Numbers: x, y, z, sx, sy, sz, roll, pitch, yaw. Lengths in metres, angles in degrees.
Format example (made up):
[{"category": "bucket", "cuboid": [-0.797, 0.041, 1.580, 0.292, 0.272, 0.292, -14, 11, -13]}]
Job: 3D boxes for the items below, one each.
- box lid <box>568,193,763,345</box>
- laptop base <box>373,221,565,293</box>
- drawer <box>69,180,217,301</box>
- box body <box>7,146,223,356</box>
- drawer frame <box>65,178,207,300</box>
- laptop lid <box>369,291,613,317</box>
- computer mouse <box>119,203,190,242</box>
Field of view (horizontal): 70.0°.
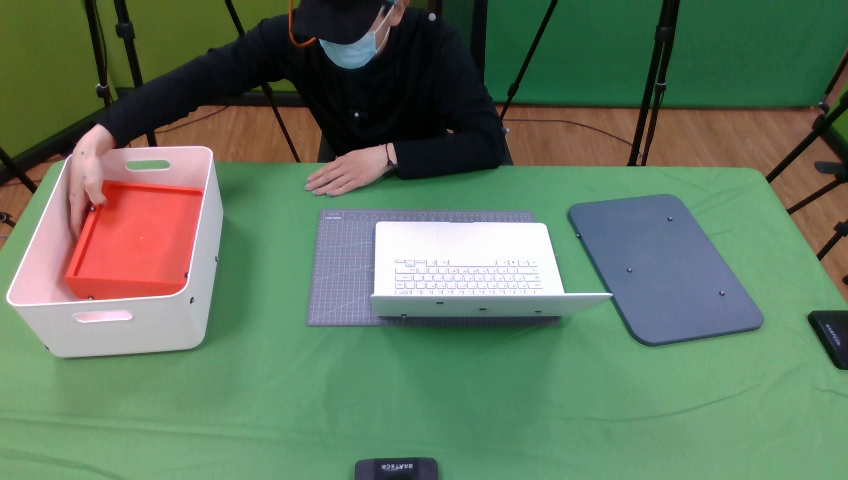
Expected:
[{"category": "box lid", "cuboid": [0.465, 0.040, 1.203, 0.264, 0.015, 0.369, -7, 47, -11]}, {"category": "laptop base", "cuboid": [0.080, 0.049, 1.159, 0.355, 0.023, 0.234, 0, 43, -4]}, {"category": "drawer", "cuboid": [-0.492, -0.001, 1.083, 0.195, 0.073, 0.210, 5, 55, -9]}, {"category": "box body", "cuboid": [-0.499, 0.012, 1.051, 0.254, 0.161, 0.361, -3, 47, -7]}, {"category": "drawer frame", "cuboid": [-0.492, 0.000, 1.081, 0.202, 0.083, 0.212, 4, 55, -8]}, {"category": "laptop lid", "cuboid": [0.092, 0.104, 0.965, 0.357, 0.242, 0.013, 0, 76, -5]}, {"category": "computer mouse", "cuboid": [-0.496, -0.034, 1.116, 0.117, 0.041, 0.062, 12, 42, -3]}]
